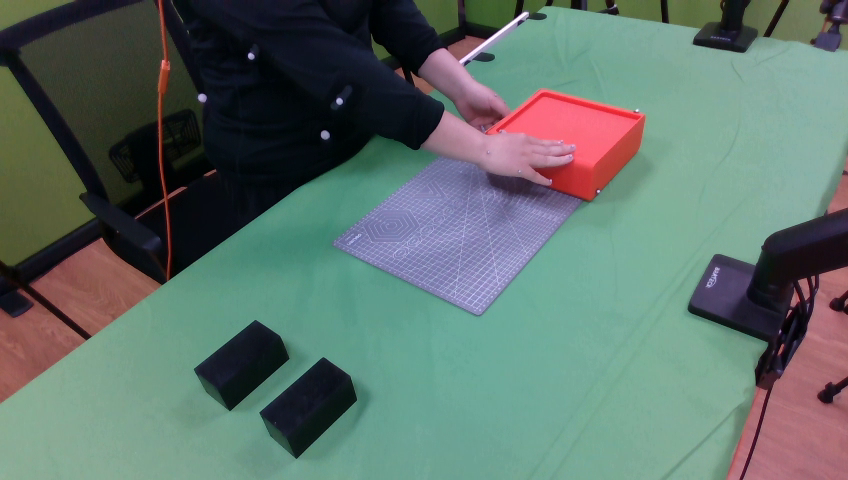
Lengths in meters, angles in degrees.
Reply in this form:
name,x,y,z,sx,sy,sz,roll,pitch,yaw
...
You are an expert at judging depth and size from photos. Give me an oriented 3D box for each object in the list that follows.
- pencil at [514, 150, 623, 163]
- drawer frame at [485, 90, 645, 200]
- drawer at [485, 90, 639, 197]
name,x,y,z,sx,sy,sz,roll,pitch,yaw
pencil,0.261,-0.150,1.099,0.194,0.012,0.012,-4,40,7
drawer frame,0.253,-0.179,1.094,0.212,0.083,0.202,24,48,31
drawer,0.248,-0.180,1.097,0.210,0.073,0.195,25,49,31
